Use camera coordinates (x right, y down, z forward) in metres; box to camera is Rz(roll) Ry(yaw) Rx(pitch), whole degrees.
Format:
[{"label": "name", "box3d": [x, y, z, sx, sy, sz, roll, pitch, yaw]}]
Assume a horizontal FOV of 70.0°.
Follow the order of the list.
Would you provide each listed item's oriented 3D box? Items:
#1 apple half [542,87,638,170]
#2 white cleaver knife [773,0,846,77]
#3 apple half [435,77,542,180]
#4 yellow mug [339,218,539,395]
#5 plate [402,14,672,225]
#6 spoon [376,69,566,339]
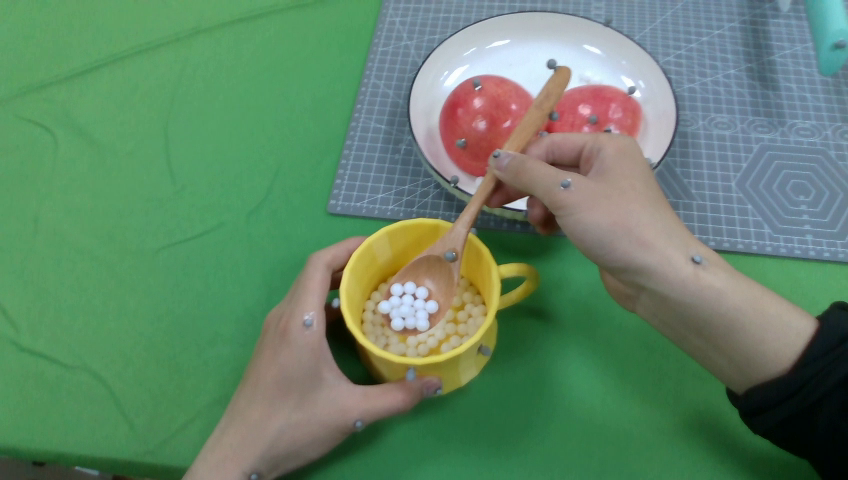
[{"label": "apple half", "box3d": [0.131, -0.096, 0.475, 0.081, 0.033, 0.080, -1, 63, 2]}, {"label": "white cleaver knife", "box3d": [0.329, -0.243, 0.542, 0.021, 0.066, 0.284, 4, 56, 11]}, {"label": "apple half", "box3d": [0.049, -0.094, 0.468, 0.081, 0.054, 0.074, -33, 61, -15]}, {"label": "yellow mug", "box3d": [0.013, 0.041, 0.398, 0.131, 0.064, 0.099, -14, 61, -7]}, {"label": "plate", "box3d": [0.087, -0.097, 0.486, 0.209, 0.038, 0.207, -1, 60, 2]}, {"label": "spoon", "box3d": [0.034, -0.024, 0.366, 0.041, 0.022, 0.193, 33, 89, 19]}]
